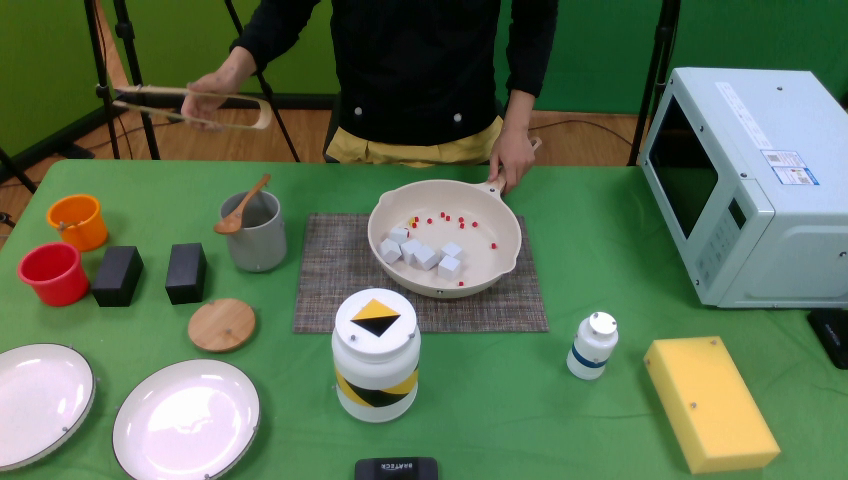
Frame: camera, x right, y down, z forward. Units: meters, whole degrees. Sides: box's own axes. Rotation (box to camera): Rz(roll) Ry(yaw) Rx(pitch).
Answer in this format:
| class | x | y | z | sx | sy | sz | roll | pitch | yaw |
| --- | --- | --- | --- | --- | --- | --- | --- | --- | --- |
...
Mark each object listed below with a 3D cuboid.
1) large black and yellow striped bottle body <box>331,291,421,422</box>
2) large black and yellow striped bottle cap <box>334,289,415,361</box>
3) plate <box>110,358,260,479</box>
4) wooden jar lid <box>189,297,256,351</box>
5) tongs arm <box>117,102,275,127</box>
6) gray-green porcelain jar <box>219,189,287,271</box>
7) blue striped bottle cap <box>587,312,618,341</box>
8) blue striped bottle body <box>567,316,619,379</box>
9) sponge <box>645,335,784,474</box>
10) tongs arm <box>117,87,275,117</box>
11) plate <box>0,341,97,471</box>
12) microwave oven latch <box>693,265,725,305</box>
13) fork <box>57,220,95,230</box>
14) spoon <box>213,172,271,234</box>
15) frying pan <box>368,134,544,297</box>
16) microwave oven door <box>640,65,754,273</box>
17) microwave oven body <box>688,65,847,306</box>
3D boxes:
| class | x | y | z | sx | sy | sz | roll | pitch | yaw |
| --- | --- | --- | --- | --- | --- | --- | --- | --- | --- |
| large black and yellow striped bottle body | -0.071 | 0.175 | 0.911 | 0.131 | 0.185 | 0.130 | 2 | 47 | -2 |
| large black and yellow striped bottle cap | -0.069 | 0.117 | 0.850 | 0.115 | 0.019 | 0.114 | 2 | 45 | -2 |
| plate | -0.349 | 0.273 | 0.899 | 0.208 | 0.039 | 0.206 | 2 | 46 | -2 |
| wooden jar lid | -0.342 | 0.145 | 1.033 | 0.108 | 0.021 | 0.107 | 2 | 45 | -2 |
| tongs arm | -0.381 | -0.222 | 1.069 | 0.027 | 0.028 | 0.388 | 9 | 9 | 17 |
| gray-green porcelain jar | -0.310 | -0.014 | 1.113 | 0.106 | 0.127 | 0.105 | 2 | 46 | -2 |
| blue striped bottle cap | 0.279 | 0.134 | 0.947 | 0.044 | 0.021 | 0.044 | 2 | 45 | -2 |
| blue striped bottle body | 0.276 | 0.168 | 0.984 | 0.063 | 0.121 | 0.062 | 2 | 46 | -2 |
| sponge | 0.449 | 0.253 | 0.956 | 0.118 | 0.061 | 0.205 | -4 | 46 | -7 |
| tongs arm | -0.378 | -0.240 | 1.066 | 0.026 | 0.051 | 0.384 | 12 | 16 | 17 |
| plate | -0.599 | 0.247 | 0.904 | 0.209 | 0.038 | 0.208 | 2 | 47 | -2 |
| microwave oven latch | 0.523 | 0.081 | 1.116 | 0.030 | 0.029 | 0.078 | 2 | 46 | -1 |
| fork | -0.624 | -0.027 | 1.086 | 0.028 | 0.207 | 0.018 | -2 | 91 | -17 |
| spoon | -0.312 | -0.069 | 1.069 | 0.041 | 0.022 | 0.193 | 10 | 43 | 10 |
| frying pan | 0.104 | -0.069 | 1.205 | 0.305 | 0.103 | 0.487 | 32 | 61 | 23 |
| microwave oven door | 0.523 | -0.147 | 1.193 | 0.039 | 0.245 | 0.353 | 0 | 47 | -3 |
| microwave oven body | 0.669 | -0.111 | 1.176 | 0.326 | 0.261 | 0.439 | 0 | 46 | -3 |
